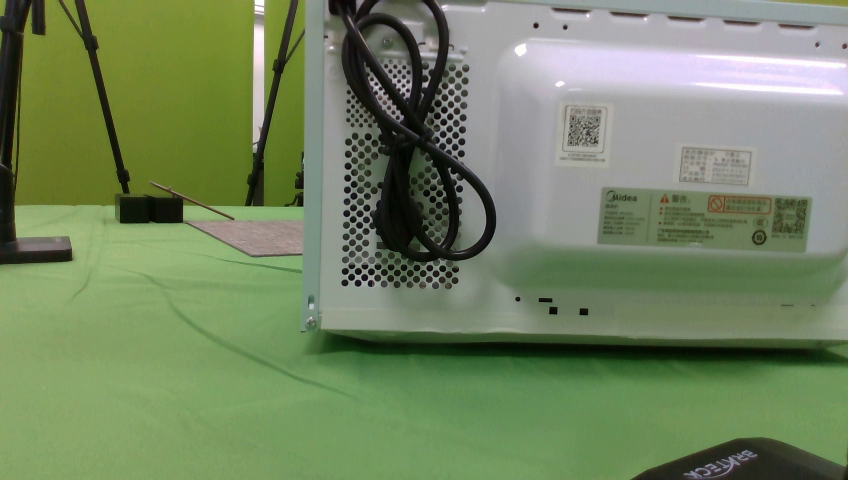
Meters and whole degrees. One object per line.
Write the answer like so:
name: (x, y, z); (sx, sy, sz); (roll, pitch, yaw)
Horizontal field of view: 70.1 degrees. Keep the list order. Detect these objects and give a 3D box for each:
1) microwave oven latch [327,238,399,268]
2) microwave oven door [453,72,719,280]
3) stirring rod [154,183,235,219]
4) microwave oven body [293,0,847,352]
microwave oven latch: (-0.069, 0.015, 0.694); (0.079, 0.029, 0.030); (3, 7, -3)
microwave oven door: (0.195, -0.091, 0.815); (0.354, 0.243, 0.039); (8, 8, 39)
stirring rod: (-0.472, -0.079, 1.252); (0.177, 0.006, 0.014); (27, 4, -35)
microwave oven body: (0.122, -0.055, 0.550); (0.442, 0.260, 0.325); (3, 7, -5)
